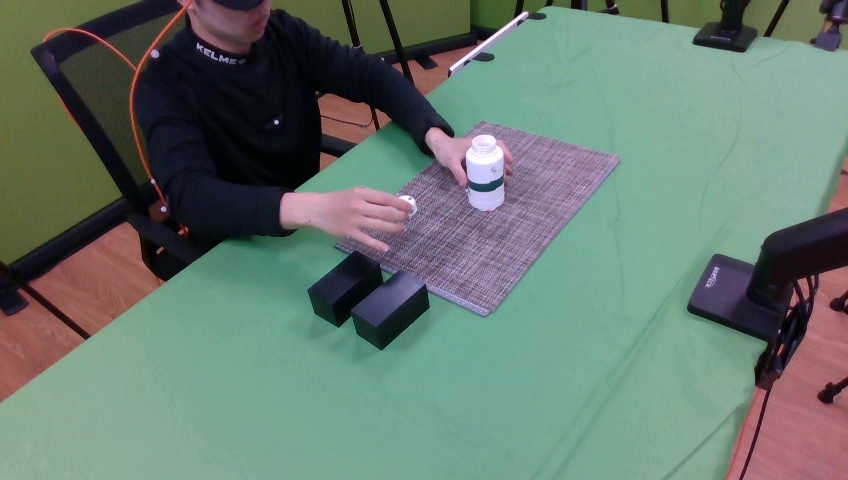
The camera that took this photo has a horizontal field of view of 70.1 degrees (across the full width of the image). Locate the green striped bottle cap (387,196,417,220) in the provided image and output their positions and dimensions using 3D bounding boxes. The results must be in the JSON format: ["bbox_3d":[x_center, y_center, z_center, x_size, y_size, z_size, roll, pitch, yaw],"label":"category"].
[{"bbox_3d":[-0.033,-0.048,0.911,0.044,0.020,0.044,-10,35,7],"label":"green striped bottle cap"}]

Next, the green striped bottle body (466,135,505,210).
[{"bbox_3d":[0.102,-0.114,1.006,0.063,0.120,0.063,-4,41,4],"label":"green striped bottle body"}]
